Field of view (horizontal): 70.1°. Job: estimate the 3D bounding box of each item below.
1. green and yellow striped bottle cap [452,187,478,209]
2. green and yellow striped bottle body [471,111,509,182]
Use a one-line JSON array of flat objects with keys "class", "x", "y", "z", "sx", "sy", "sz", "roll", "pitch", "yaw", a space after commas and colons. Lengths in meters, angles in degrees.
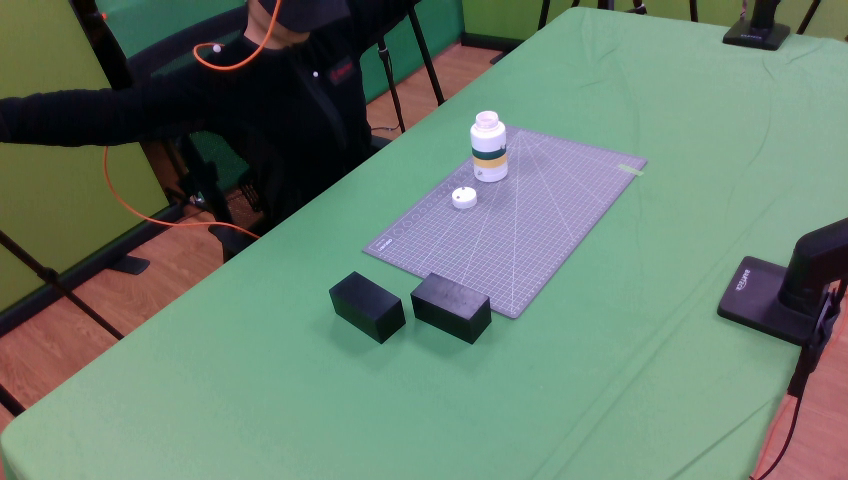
[{"class": "green and yellow striped bottle cap", "x": 0.072, "y": -0.074, "z": 1.057, "sx": 0.045, "sy": 0.020, "sz": 0.045, "roll": -7, "pitch": 39, "yaw": 6}, {"class": "green and yellow striped bottle body", "x": 0.117, "y": -0.169, "z": 1.079, "sx": 0.063, "sy": 0.120, "sz": 0.063, "roll": -6, "pitch": 40, "yaw": 5}]
